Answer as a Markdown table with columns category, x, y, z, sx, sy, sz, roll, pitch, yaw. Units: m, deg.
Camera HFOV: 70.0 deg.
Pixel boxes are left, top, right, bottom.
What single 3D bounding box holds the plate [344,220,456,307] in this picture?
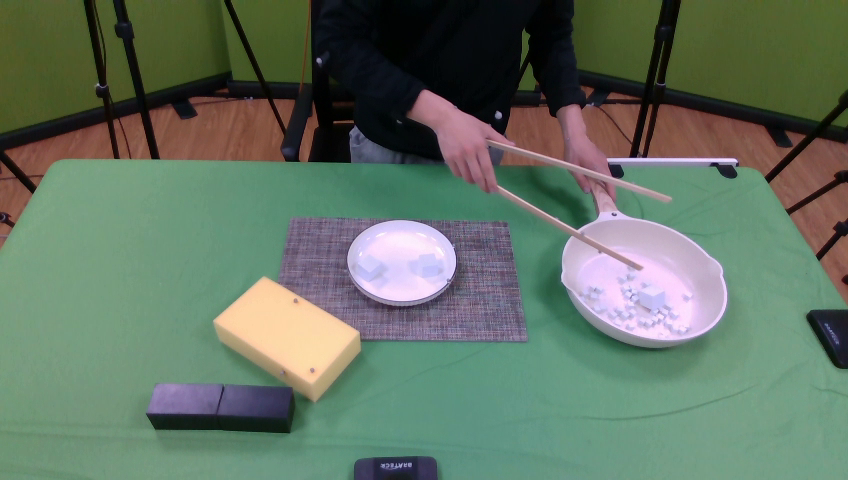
| category | x | y | z | sx | sy | sz | roll | pitch | yaw |
| --- | --- | --- | --- | --- | --- | --- | --- | --- | --- |
| plate | -0.045 | 0.047 | 1.133 | 0.208 | 0.039 | 0.206 | 3 | 46 | -2 |

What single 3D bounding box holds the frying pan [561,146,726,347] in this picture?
| category | x | y | z | sx | sy | sz | roll | pitch | yaw |
| --- | --- | --- | --- | --- | --- | --- | --- | --- | --- |
| frying pan | 0.378 | -0.005 | 1.175 | 0.307 | 0.103 | 0.484 | -4 | 55 | -9 |

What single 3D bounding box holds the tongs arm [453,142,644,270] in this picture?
| category | x | y | z | sx | sy | sz | roll | pitch | yaw |
| --- | --- | --- | --- | --- | --- | --- | --- | --- | --- |
| tongs arm | 0.214 | -0.061 | 1.061 | 0.384 | 0.026 | 0.050 | 28 | 80 | 6 |

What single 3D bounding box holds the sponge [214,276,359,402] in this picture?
| category | x | y | z | sx | sy | sz | roll | pitch | yaw |
| --- | --- | --- | --- | --- | --- | --- | --- | --- | --- |
| sponge | -0.225 | 0.158 | 0.998 | 0.206 | 0.061 | 0.118 | 27 | 52 | 18 |

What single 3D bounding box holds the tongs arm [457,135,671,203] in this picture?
| category | x | y | z | sx | sy | sz | roll | pitch | yaw |
| --- | --- | --- | --- | --- | --- | --- | --- | --- | --- |
| tongs arm | 0.246 | -0.125 | 1.076 | 0.387 | 0.028 | 0.028 | 18 | 82 | 4 |
